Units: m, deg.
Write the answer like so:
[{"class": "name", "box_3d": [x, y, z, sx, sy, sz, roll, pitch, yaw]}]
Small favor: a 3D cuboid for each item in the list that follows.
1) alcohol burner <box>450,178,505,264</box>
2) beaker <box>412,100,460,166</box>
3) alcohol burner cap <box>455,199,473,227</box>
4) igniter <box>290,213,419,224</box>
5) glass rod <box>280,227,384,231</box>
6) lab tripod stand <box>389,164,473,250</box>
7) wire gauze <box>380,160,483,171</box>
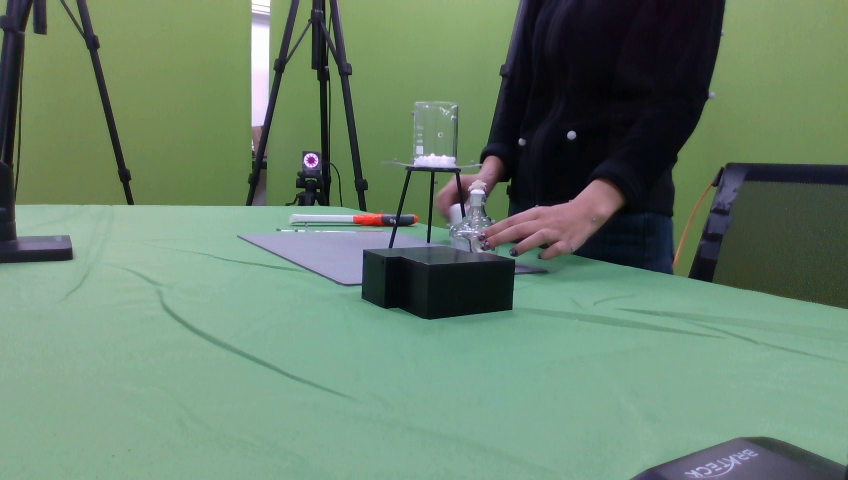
[{"class": "alcohol burner", "box_3d": [0.075, -0.026, 0.844, 0.078, 0.119, 0.078, 0, 8, 0]}, {"class": "beaker", "box_3d": [0.020, -0.167, 0.953, 0.073, 0.100, 0.084, 6, 9, 26]}, {"class": "alcohol burner cap", "box_3d": [0.072, -0.048, 1.058, 0.034, 0.048, 0.034, 5, 12, -1]}, {"class": "igniter", "box_3d": [-0.143, -0.046, 1.288, 0.278, 0.025, 0.057, -1, -3, -24]}, {"class": "glass rod", "box_3d": [-0.175, -0.021, 1.161, 0.200, 0.008, 0.008, 0, 7, -15]}, {"class": "lab tripod stand", "box_3d": [0.011, -0.054, 0.960, 0.148, 0.131, 0.148, 2, 9, 0]}, {"class": "wire gauze", "box_3d": [0.011, -0.119, 0.951, 0.122, 0.011, 0.124, -5, 12, -32]}]
